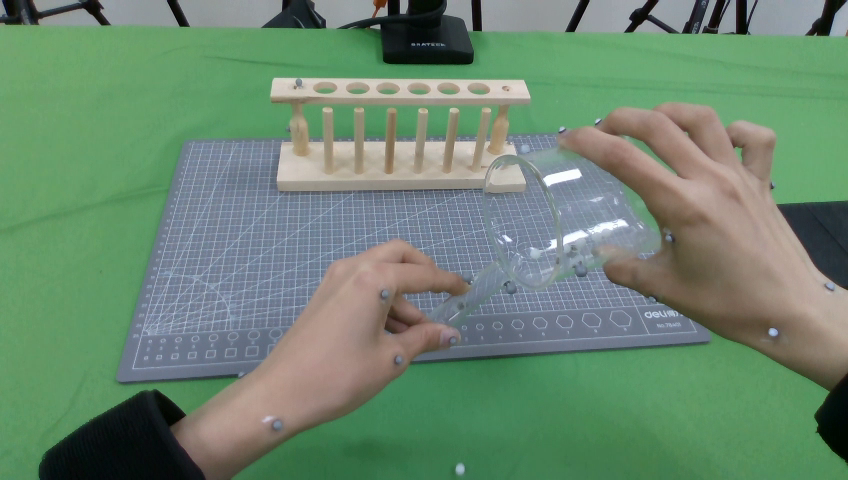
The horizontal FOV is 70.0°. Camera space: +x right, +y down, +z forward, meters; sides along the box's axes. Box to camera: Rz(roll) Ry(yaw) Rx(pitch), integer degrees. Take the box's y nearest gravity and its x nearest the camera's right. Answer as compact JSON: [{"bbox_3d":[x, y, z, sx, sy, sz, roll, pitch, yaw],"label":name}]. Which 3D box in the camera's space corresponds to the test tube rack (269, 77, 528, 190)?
[{"bbox_3d":[-0.023,-0.104,0.591,0.243,0.086,0.066,-1,44,-6],"label":"test tube rack"}]

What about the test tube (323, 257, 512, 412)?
[{"bbox_3d":[-0.008,0.061,0.372,0.150,0.017,0.017,-40,46,16],"label":"test tube"}]

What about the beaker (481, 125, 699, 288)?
[{"bbox_3d":[0.093,-0.020,0.339,0.100,0.084,0.073,-15,58,-20],"label":"beaker"}]
